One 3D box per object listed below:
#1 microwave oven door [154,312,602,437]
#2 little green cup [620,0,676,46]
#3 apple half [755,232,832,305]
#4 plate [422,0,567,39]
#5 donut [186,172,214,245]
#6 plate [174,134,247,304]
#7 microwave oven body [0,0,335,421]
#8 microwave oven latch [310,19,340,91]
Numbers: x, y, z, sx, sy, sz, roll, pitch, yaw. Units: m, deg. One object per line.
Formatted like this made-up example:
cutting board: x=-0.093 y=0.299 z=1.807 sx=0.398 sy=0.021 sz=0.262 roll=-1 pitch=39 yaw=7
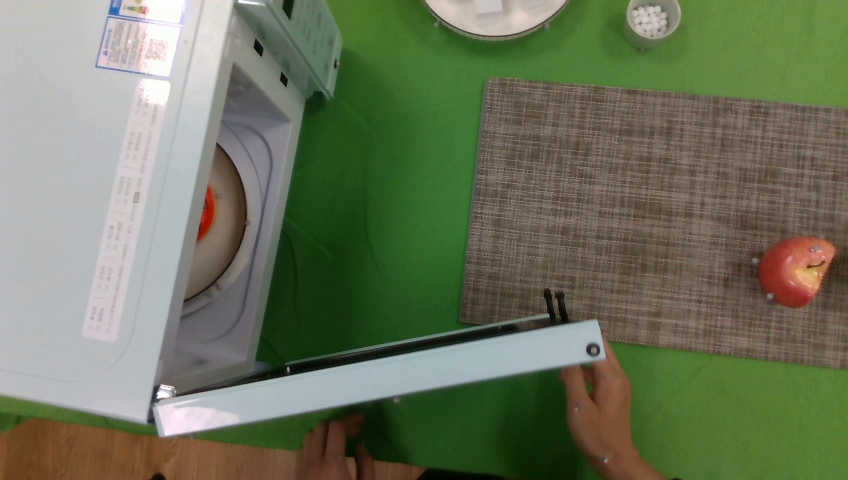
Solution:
microwave oven door: x=-0.030 y=0.119 z=0.583 sx=0.356 sy=0.244 sz=0.039 roll=-11 pitch=83 yaw=3
little green cup: x=0.262 y=-0.262 z=0.717 sx=0.061 sy=0.039 sz=0.061 roll=0 pitch=84 yaw=4
apple half: x=0.394 y=0.026 z=0.662 sx=0.053 sy=0.075 sz=0.081 roll=25 pitch=91 yaw=10
plate: x=0.086 y=-0.341 z=0.736 sx=0.207 sy=0.039 sz=0.207 roll=0 pitch=85 yaw=4
donut: x=-0.278 y=-0.039 z=0.660 sx=0.099 sy=0.048 sz=0.099 roll=0 pitch=88 yaw=4
plate: x=-0.295 y=-0.029 z=0.671 sx=0.209 sy=0.038 sz=0.208 roll=0 pitch=85 yaw=3
microwave oven body: x=-0.303 y=-0.080 z=0.623 sx=0.326 sy=0.261 sz=0.441 roll=9 pitch=86 yaw=4
microwave oven latch: x=-0.121 y=-0.221 z=0.720 sx=0.030 sy=0.029 sz=0.079 roll=11 pitch=86 yaw=4
